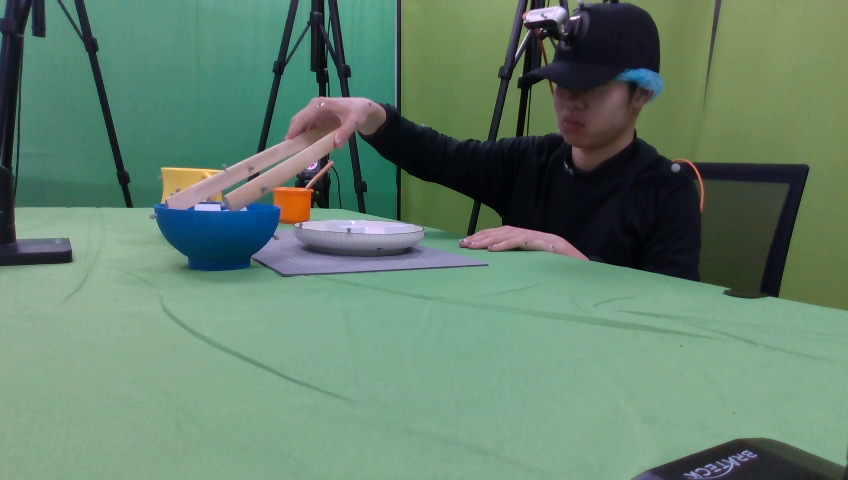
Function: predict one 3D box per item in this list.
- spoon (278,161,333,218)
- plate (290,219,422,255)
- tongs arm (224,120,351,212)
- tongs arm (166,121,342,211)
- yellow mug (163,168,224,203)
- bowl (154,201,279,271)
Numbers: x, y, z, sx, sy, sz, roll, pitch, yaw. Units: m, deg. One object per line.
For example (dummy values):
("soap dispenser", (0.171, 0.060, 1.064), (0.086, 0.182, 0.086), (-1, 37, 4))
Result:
("spoon", (-0.262, -0.115, 1.359), (0.041, 0.194, 0.022), (13, -33, 38))
("plate", (-0.108, -0.005, 0.963), (0.208, 0.039, 0.207), (3, 7, 0))
("tongs arm", (-0.181, -0.118, 0.881), (0.028, 0.028, 0.388), (-8, 22, 20))
("tongs arm", (-0.229, -0.117, 0.900), (0.050, 0.026, 0.385), (-2, 23, 23))
("yellow mug", (-0.383, -0.087, 1.026), (0.130, 0.064, 0.100), (11, 11, 44))
("bowl", (-0.261, -0.005, 0.770), (0.151, 0.077, 0.151), (3, 8, 0))
